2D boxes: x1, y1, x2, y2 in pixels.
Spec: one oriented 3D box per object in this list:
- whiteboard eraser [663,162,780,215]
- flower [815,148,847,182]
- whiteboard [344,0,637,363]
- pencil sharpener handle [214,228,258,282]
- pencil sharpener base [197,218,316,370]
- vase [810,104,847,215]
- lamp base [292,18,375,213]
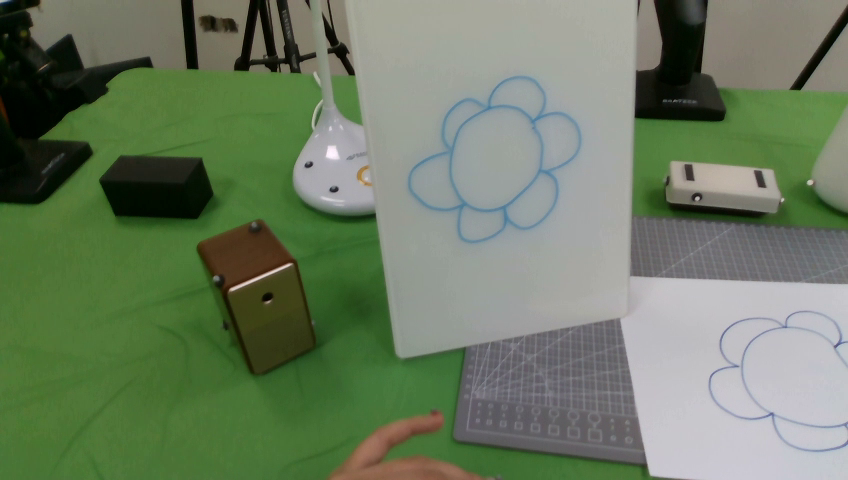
[{"bbox_3d":[0.323,-0.055,0.666,0.112,0.042,0.055,5,39,11],"label":"whiteboard eraser"},{"bbox_3d":[0.480,-0.172,0.545,0.044,0.364,0.038,-11,58,-19],"label":"flower"},{"bbox_3d":[0.056,-0.075,0.545,0.217,0.307,0.142,-9,22,-6],"label":"whiteboard"},{"bbox_3d":[-0.171,0.009,0.548,0.036,0.068,0.030,-31,47,-18],"label":"pencil sharpener handle"},{"bbox_3d":[-0.143,0.046,0.523,0.061,0.108,0.076,-26,45,-23],"label":"pencil sharpener base"},{"bbox_3d":[0.475,-0.119,0.612,0.098,0.202,0.097,-1,41,1],"label":"vase"},{"bbox_3d":[-0.090,-0.148,0.690,0.161,0.182,0.177,-29,45,-27],"label":"lamp base"}]
